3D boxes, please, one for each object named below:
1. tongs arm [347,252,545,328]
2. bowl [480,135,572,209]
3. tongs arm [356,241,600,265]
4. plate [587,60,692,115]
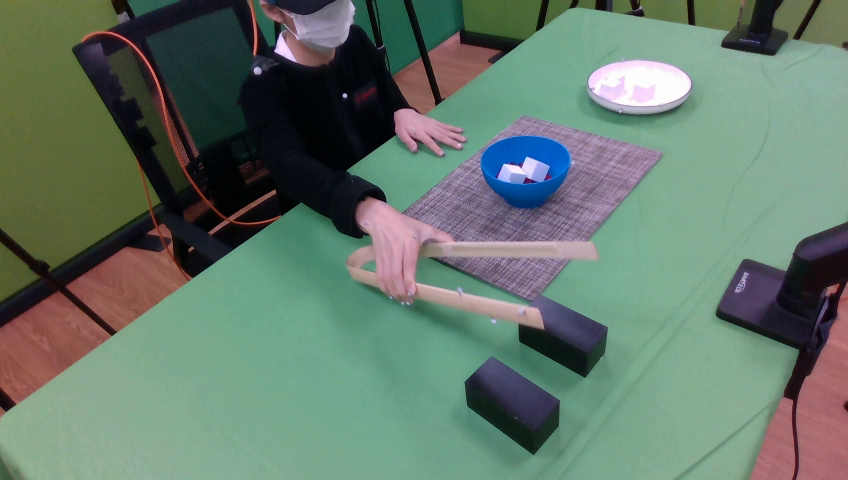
[{"bbox_3d":[0.010,0.056,0.789,0.381,0.026,0.051,6,40,47],"label":"tongs arm"},{"bbox_3d":[0.172,-0.107,1.024,0.151,0.077,0.150,-4,40,4],"label":"bowl"},{"bbox_3d":[0.055,0.017,0.830,0.384,0.028,0.028,-2,38,39],"label":"tongs arm"},{"bbox_3d":[0.445,-0.313,1.263,0.209,0.038,0.208,-5,40,4],"label":"plate"}]
